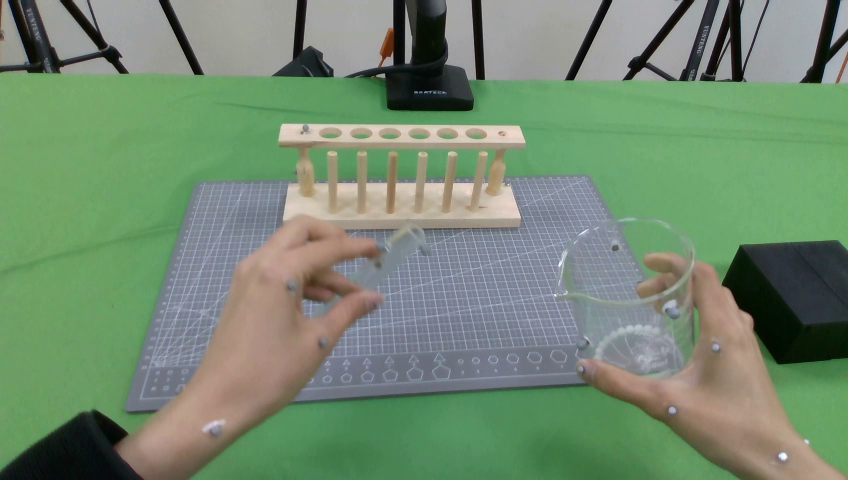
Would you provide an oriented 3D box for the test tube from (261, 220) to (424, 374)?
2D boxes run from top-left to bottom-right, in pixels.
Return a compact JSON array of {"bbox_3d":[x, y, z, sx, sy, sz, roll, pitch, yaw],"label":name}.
[{"bbox_3d":[-0.056,0.040,0.383,0.017,0.150,0.017,39,23,-20],"label":"test tube"}]

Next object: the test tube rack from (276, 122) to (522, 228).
[{"bbox_3d":[-0.024,-0.067,0.619,0.243,0.086,0.066,-1,40,-6],"label":"test tube rack"}]

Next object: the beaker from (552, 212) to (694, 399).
[{"bbox_3d":[0.126,0.046,0.379,0.084,0.101,0.073,-24,37,-3],"label":"beaker"}]
